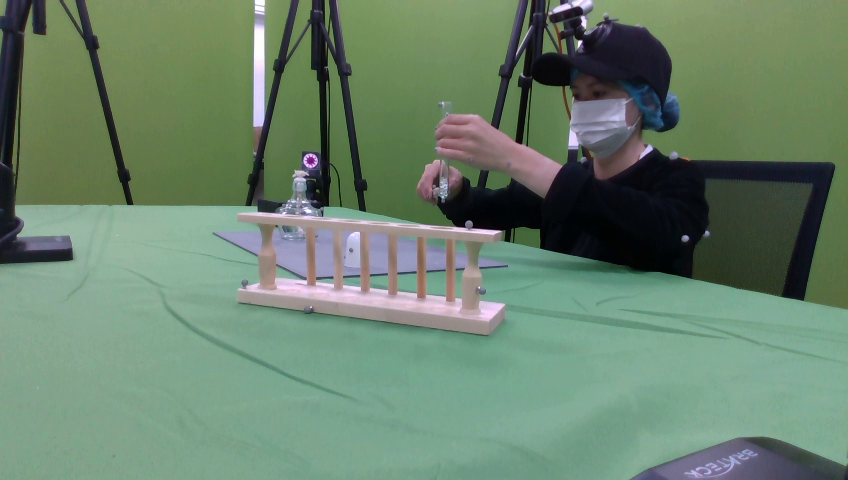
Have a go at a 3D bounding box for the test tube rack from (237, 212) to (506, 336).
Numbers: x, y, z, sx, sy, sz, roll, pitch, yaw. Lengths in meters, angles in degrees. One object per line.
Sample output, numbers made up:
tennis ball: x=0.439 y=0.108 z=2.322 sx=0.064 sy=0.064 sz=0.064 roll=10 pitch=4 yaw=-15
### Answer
test tube rack: x=-0.049 y=0.024 z=0.552 sx=0.242 sy=0.085 sz=0.067 roll=5 pitch=8 yaw=18

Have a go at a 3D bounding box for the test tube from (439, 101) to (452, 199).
test tube: x=0.033 y=-0.139 z=0.940 sx=0.017 sy=0.150 sz=0.017 roll=1 pitch=13 yaw=0

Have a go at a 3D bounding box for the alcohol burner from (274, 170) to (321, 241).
alcohol burner: x=-0.212 y=-0.058 z=1.015 sx=0.078 sy=0.119 sz=0.078 roll=4 pitch=5 yaw=0

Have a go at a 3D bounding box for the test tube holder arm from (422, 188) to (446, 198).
test tube holder arm: x=0.016 y=-0.084 z=1.093 sx=0.013 sy=0.015 sz=0.178 roll=-8 pitch=4 yaw=-12

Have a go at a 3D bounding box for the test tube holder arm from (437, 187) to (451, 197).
test tube holder arm: x=0.031 y=-0.083 z=1.050 sx=0.010 sy=0.015 sz=0.087 roll=-8 pitch=4 yaw=-12

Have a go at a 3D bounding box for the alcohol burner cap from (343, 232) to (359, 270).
alcohol burner cap: x=-0.087 y=0.013 z=0.777 sx=0.034 sy=0.048 sz=0.034 roll=3 pitch=7 yaw=0
